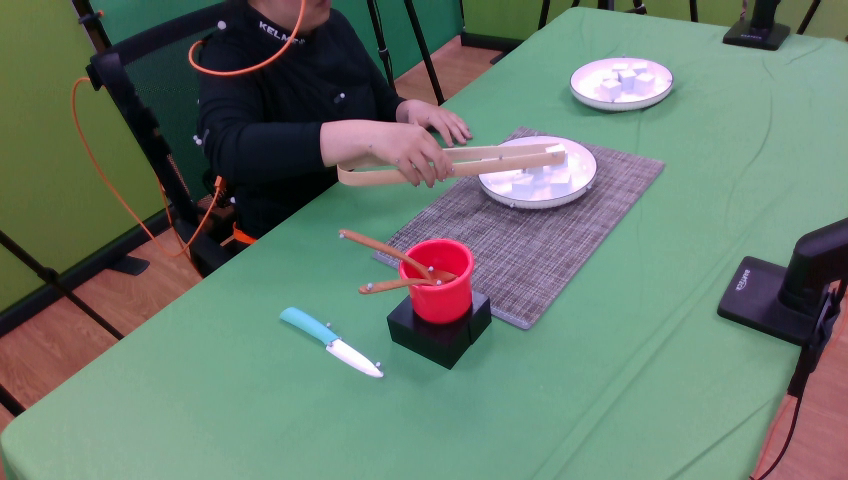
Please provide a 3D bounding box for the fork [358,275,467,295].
[{"bbox_3d":[-0.009,0.056,0.739,0.028,0.018,0.209,48,23,26],"label":"fork"}]

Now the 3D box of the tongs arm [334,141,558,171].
[{"bbox_3d":[0.044,-0.140,1.019,0.389,0.028,0.028,-6,42,-10],"label":"tongs arm"}]

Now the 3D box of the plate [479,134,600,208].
[{"bbox_3d":[0.202,-0.117,1.065,0.207,0.039,0.206,-5,40,5],"label":"plate"}]

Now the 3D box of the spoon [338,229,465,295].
[{"bbox_3d":[-0.025,0.026,0.776,0.021,0.195,0.041,-41,34,32],"label":"spoon"}]

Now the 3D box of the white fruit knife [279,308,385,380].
[{"bbox_3d":[-0.130,0.143,0.845,0.205,0.016,0.027,25,79,32],"label":"white fruit knife"}]

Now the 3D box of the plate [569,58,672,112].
[{"bbox_3d":[0.411,-0.323,1.274,0.209,0.038,0.208,-5,41,5],"label":"plate"}]

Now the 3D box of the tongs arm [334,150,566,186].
[{"bbox_3d":[0.048,-0.126,1.000,0.386,0.026,0.050,-9,39,-13],"label":"tongs arm"}]
